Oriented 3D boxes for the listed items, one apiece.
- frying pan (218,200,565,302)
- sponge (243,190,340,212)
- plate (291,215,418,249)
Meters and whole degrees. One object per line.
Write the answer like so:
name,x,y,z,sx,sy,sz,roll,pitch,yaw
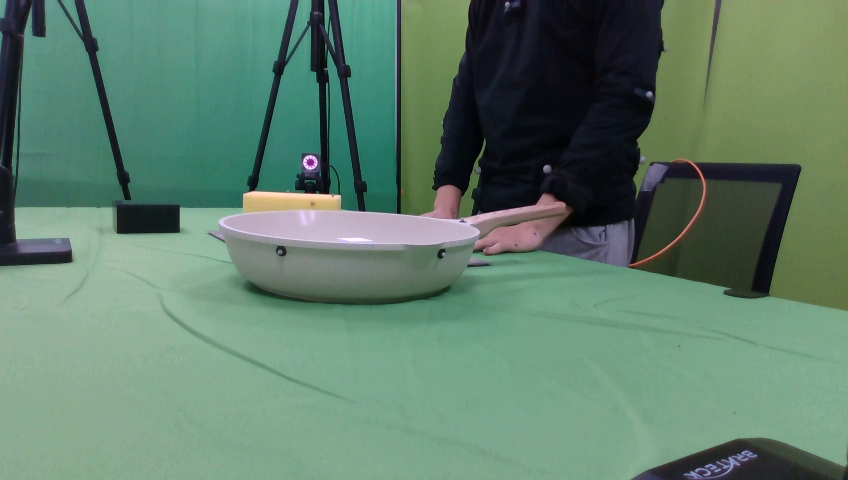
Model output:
frying pan,0.003,-0.010,0.754,0.490,0.102,0.305,-12,16,-32
sponge,-0.298,-0.077,1.388,0.207,0.061,0.118,2,8,-7
plate,-0.115,-0.013,1.002,0.208,0.039,0.207,2,7,0
